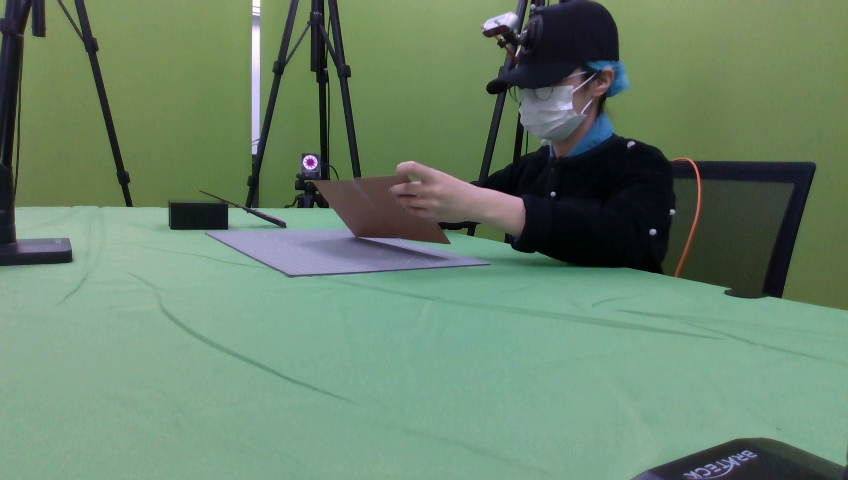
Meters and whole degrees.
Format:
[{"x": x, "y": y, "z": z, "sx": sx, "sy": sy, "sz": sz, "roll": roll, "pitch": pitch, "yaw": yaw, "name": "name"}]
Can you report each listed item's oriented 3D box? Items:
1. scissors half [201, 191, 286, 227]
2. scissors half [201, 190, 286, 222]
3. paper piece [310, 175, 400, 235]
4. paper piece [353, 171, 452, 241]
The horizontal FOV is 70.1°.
[{"x": -0.359, "y": -0.063, "z": 1.206, "sx": 0.175, "sy": 0.013, "sz": 0.040, "roll": 22, "pitch": 2, "yaw": -10, "name": "scissors half"}, {"x": -0.364, "y": -0.068, "z": 1.225, "sx": 0.176, "sy": 0.013, "sz": 0.040, "roll": 22, "pitch": 7, "yaw": -27, "name": "scissors half"}, {"x": -0.118, "y": -0.058, "z": 1.025, "sx": 0.135, "sy": 0.136, "sz": 0.004, "roll": 1, "pitch": 46, "yaw": 49, "name": "paper piece"}, {"x": -0.034, "y": -0.052, "z": 0.923, "sx": 0.137, "sy": 0.136, "sz": 0.008, "roll": 5, "pitch": 51, "yaw": 52, "name": "paper piece"}]
